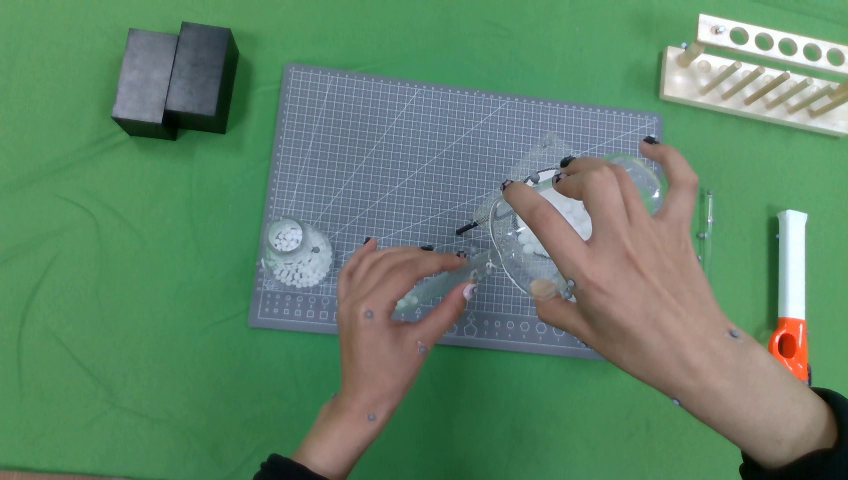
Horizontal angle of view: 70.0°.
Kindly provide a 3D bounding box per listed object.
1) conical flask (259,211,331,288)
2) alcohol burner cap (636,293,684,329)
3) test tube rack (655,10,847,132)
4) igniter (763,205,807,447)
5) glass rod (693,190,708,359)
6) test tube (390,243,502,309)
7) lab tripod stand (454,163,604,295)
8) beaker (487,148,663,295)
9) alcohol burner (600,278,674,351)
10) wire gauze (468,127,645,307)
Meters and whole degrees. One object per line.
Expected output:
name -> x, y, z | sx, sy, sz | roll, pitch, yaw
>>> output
conical flask -> -0.131, 0.004, 0.594 | 0.075, 0.122, 0.075 | 1, 79, -7
alcohol burner cap -> 0.234, 0.067, 0.595 | 0.034, 0.048, 0.033 | 3, 73, -10
test tube rack -> 0.410, -0.196, 0.717 | 0.243, 0.085, 0.066 | 10, 78, -5
igniter -> 0.415, 0.095, 0.696 | 0.057, 0.025, 0.275 | 10, 79, -16
glass rod -> 0.322, 0.038, 0.704 | 0.008, 0.008, 0.199 | 8, 82, -6
test tube -> 0.012, 0.032, 0.488 | 0.017, 0.150, 0.017 | 13, 65, -29
lab tripod stand -> 0.112, -0.015, 0.622 | 0.148, 0.131, 0.148 | 1, 81, -5
beaker -> 0.103, -0.015, 0.412 | 0.100, 0.084, 0.074 | -23, 88, -22
alcohol burner -> 0.230, 0.075, 0.630 | 0.078, 0.119, 0.077 | 1, 79, -4
wire gauze -> 0.122, -0.025, 0.556 | 0.125, 0.011, 0.121 | 43, 79, 2
